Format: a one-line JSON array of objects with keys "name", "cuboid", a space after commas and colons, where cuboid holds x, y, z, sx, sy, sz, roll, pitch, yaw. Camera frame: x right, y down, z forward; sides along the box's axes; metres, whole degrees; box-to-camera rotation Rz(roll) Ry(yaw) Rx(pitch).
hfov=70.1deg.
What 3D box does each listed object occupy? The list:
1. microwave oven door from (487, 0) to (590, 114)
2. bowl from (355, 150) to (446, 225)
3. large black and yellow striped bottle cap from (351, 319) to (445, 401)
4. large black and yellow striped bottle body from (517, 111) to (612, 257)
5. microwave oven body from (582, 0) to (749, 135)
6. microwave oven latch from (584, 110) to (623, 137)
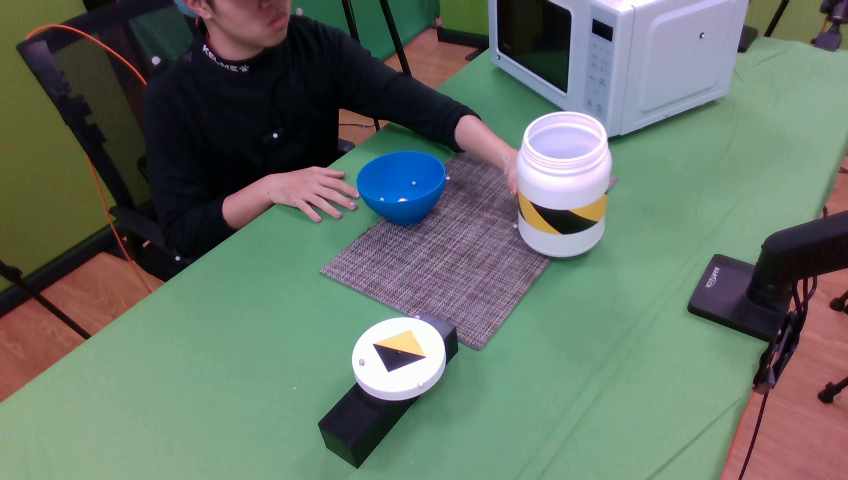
[{"name": "microwave oven door", "cuboid": [0.231, -0.420, 1.230, 0.039, 0.245, 0.352, -22, 43, -16]}, {"name": "bowl", "cuboid": [-0.035, -0.078, 1.017, 0.151, 0.077, 0.150, -4, 40, 4]}, {"name": "large black and yellow striped bottle cap", "cuboid": [-0.031, 0.143, 0.735, 0.115, 0.019, 0.114, -3, 40, 3]}, {"name": "large black and yellow striped bottle body", "cuboid": [0.201, -0.079, 0.874, 0.130, 0.185, 0.130, -5, 47, 6]}, {"name": "microwave oven body", "cuboid": [0.382, -0.444, 1.246, 0.327, 0.261, 0.437, -22, 42, -16]}, {"name": "microwave oven latch", "cuboid": [0.337, -0.222, 1.142, 0.030, 0.029, 0.078, -21, 42, -14]}]
